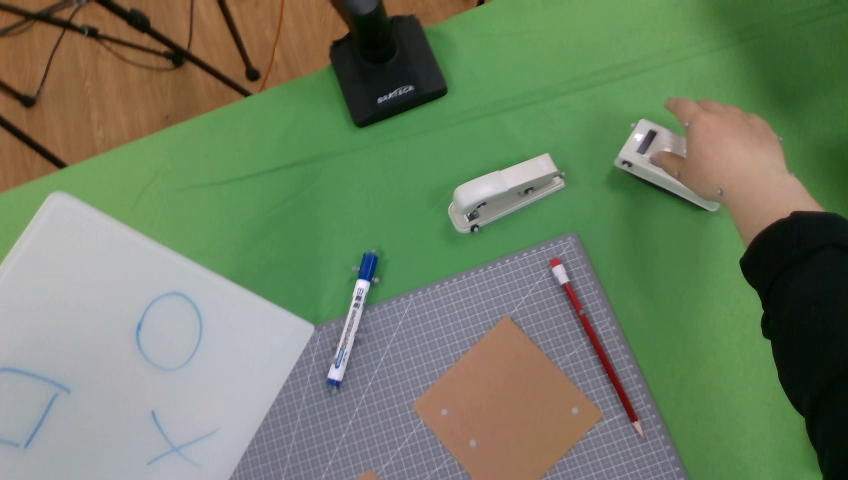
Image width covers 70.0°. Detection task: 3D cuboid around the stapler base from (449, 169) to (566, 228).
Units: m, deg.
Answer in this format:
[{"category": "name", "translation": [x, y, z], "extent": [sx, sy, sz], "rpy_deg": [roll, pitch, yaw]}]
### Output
[{"category": "stapler base", "translation": [0.090, -0.057, 0.658], "extent": [0.130, 0.024, 0.041], "rpy_deg": [-25, 74, -2]}]

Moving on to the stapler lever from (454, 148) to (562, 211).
[{"category": "stapler lever", "translation": [0.088, -0.065, 0.635], "extent": [0.118, 0.040, 0.026], "rpy_deg": [-26, 74, -1]}]

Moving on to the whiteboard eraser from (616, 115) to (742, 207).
[{"category": "whiteboard eraser", "translation": [0.263, -0.082, 0.629], "extent": [0.112, 0.042, 0.055], "rpy_deg": [30, 81, 16]}]

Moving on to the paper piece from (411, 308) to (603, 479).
[{"category": "paper piece", "translation": [0.079, 0.163, 0.597], "extent": [0.136, 0.009, 0.137], "rpy_deg": [-43, 74, -1]}]

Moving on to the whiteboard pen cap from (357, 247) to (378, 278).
[{"category": "whiteboard pen cap", "translation": [-0.061, 0.025, 0.655], "extent": [0.018, 0.018, 0.033], "rpy_deg": [10, 75, 12]}]

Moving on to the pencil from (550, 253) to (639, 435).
[{"category": "pencil", "translation": [0.169, 0.100, 0.602], "extent": [0.012, 0.012, 0.192], "rpy_deg": [-23, 74, 1]}]

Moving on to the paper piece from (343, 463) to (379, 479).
[{"category": "paper piece", "translation": [-0.072, 0.308, 0.575], "extent": [0.135, 0.004, 0.135], "rpy_deg": [-34, 73, -4]}]

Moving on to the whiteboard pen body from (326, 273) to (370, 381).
[{"category": "whiteboard pen body", "translation": [-0.076, 0.079, 0.641], "extent": [0.017, 0.017, 0.140], "rpy_deg": [12, 75, 12]}]

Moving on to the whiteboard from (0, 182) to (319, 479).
[{"category": "whiteboard", "translation": [-0.282, 0.097, 0.548], "extent": [0.142, 0.309, 0.216], "rpy_deg": [22, 77, 36]}]
